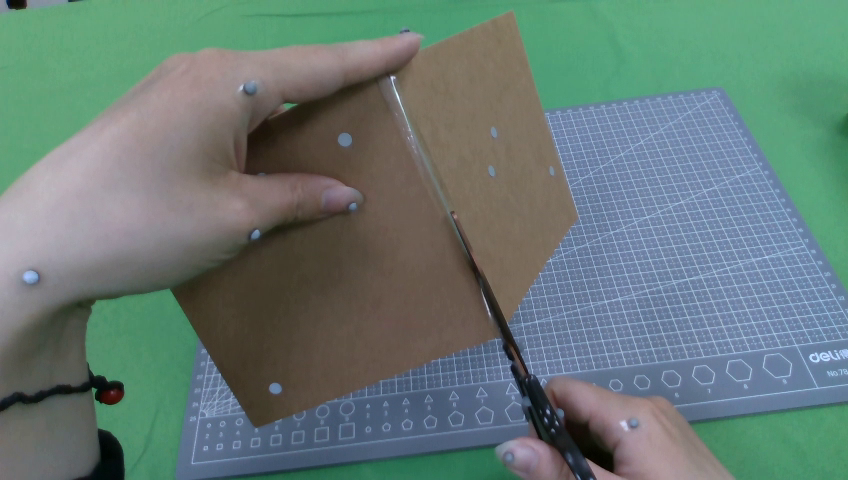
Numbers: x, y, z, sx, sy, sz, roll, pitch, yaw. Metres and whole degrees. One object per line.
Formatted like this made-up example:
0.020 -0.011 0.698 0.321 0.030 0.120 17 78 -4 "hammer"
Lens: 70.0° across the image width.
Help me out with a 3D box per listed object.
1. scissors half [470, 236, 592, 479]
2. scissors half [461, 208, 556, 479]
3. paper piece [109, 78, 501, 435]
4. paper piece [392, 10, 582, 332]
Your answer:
0.050 0.065 0.281 0.013 0.040 0.175 -23 86 -6 "scissors half"
0.048 0.061 0.303 0.013 0.176 0.039 -22 24 -1 "scissors half"
-0.053 0.015 0.282 0.138 0.136 0.008 -22 13 8 "paper piece"
0.046 -0.044 0.322 0.004 0.136 0.135 -9 21 37 "paper piece"
